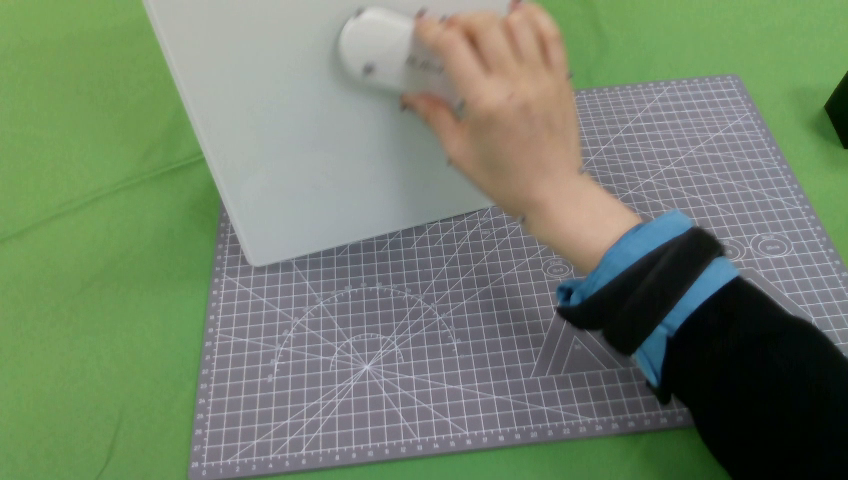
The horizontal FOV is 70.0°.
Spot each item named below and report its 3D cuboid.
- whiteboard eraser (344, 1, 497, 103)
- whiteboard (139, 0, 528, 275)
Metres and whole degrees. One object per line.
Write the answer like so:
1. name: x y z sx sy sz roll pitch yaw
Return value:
1. whiteboard eraser: 0.000 -0.115 0.376 0.102 0.041 0.018 12 28 -27
2. whiteboard: -0.060 -0.161 0.416 0.217 0.308 0.142 -15 37 -7
